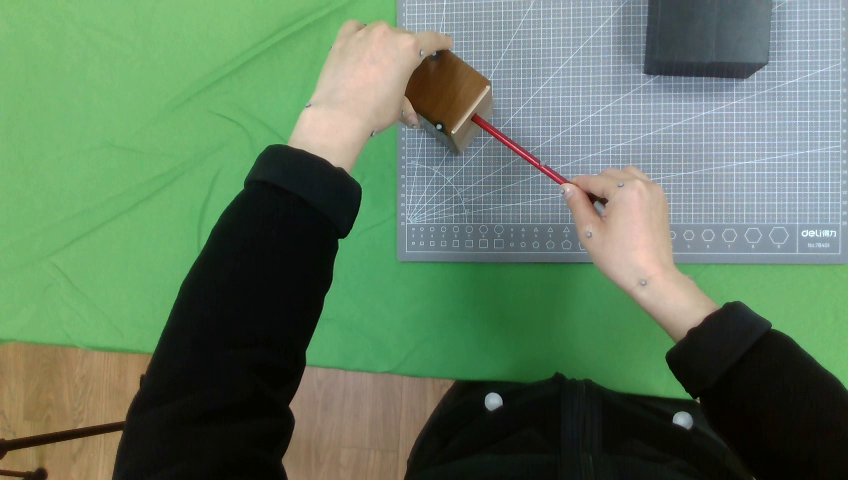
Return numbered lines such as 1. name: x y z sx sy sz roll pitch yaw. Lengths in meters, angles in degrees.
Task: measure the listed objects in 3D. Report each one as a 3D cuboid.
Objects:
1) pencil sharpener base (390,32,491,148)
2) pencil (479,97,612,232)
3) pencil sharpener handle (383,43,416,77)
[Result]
1. pencil sharpener base: 0.017 -0.141 0.582 0.076 0.107 0.061 40 94 5
2. pencil: 0.097 -0.079 0.544 0.012 0.012 0.193 -43 80 5
3. pencil sharpener handle: -0.026 -0.171 0.573 0.030 0.068 0.036 40 80 6
